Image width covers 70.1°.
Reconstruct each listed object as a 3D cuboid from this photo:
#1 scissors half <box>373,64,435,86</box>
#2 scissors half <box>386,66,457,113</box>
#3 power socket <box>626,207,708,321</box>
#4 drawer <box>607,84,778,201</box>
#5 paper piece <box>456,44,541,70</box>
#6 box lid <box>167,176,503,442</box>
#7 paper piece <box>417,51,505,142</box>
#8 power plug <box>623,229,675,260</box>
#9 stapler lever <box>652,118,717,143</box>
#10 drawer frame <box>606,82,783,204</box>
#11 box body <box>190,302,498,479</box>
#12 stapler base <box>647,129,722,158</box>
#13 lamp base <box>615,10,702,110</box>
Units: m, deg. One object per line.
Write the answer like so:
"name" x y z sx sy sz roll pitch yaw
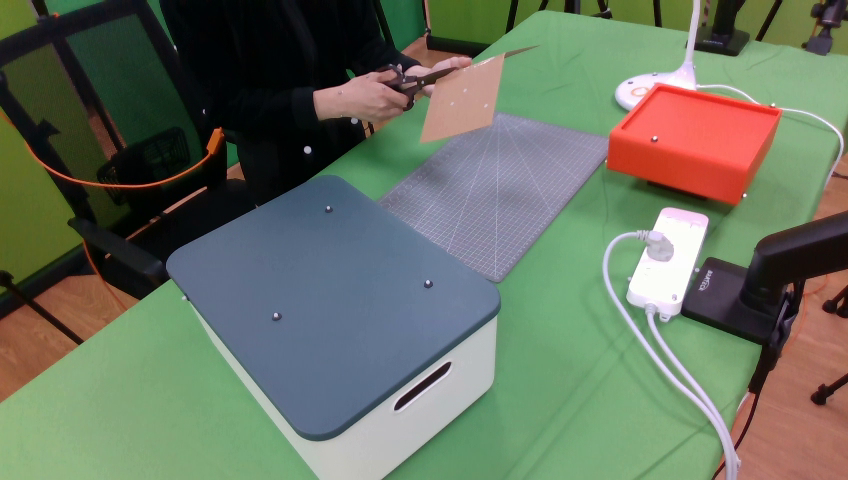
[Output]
"scissors half" -0.014 -0.274 1.014 0.174 0.040 0.013 11 48 29
"scissors half" -0.005 -0.256 1.025 0.174 0.040 0.013 -21 22 47
"power socket" 0.360 0.026 0.886 0.072 0.033 0.227 16 46 26
"drawer" 0.438 -0.167 0.995 0.210 0.073 0.195 23 48 30
"paper piece" 0.108 -0.299 1.006 0.137 0.008 0.137 -10 10 39
"box lid" -0.119 0.047 0.714 0.264 0.015 0.368 -32 47 -27
"paper piece" 0.056 -0.218 0.926 0.135 0.004 0.135 -7 58 39
"power plug" 0.327 0.007 0.878 0.072 0.053 0.035 25 51 33
"stapler lever" 0.436 -0.192 1.014 0.118 0.040 0.026 -15 25 -16
"drawer frame" 0.441 -0.167 0.995 0.212 0.083 0.202 23 48 30
"box body" -0.110 0.103 0.761 0.255 0.161 0.361 -33 46 -27
"stapler base" 0.439 -0.167 1.023 0.131 0.024 0.041 -16 25 -15
"lamp base" 0.484 -0.364 1.211 0.180 0.181 0.159 -15 41 -14
